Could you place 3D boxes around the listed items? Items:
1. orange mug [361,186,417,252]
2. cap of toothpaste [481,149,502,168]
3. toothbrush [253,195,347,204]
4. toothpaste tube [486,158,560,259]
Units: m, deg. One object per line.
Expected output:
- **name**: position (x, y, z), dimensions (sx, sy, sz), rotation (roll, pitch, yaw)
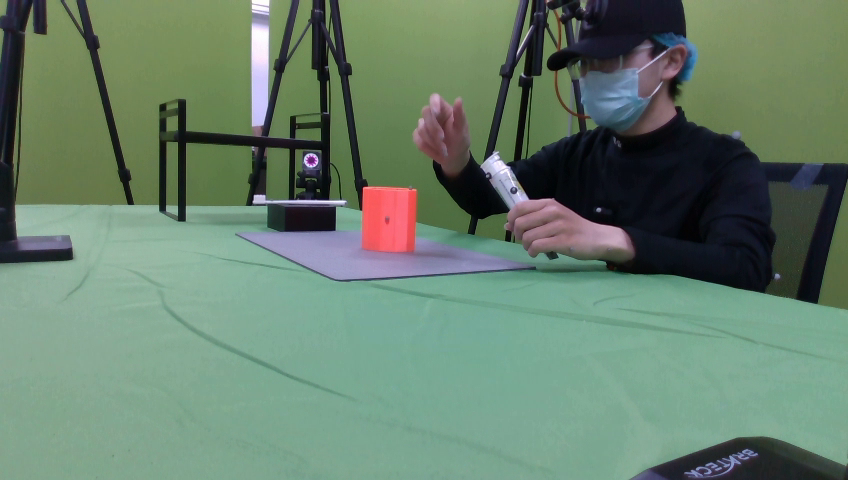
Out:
- **orange mug**: position (-0.054, -0.039, 0.962), dimensions (0.083, 0.101, 0.126), rotation (2, 12, 0)
- **cap of toothpaste**: position (0.098, -0.115, 0.857), dimensions (0.037, 0.011, 0.037), rotation (-40, -3, -2)
- **toothbrush**: position (-0.234, -0.076, 1.154), dimensions (0.183, 0.016, 0.014), rotation (-1, 4, -27)
- **toothpaste tube**: position (0.138, -0.045, 0.842), dimensions (0.034, 0.164, 0.055), rotation (-37, -12, 30)
